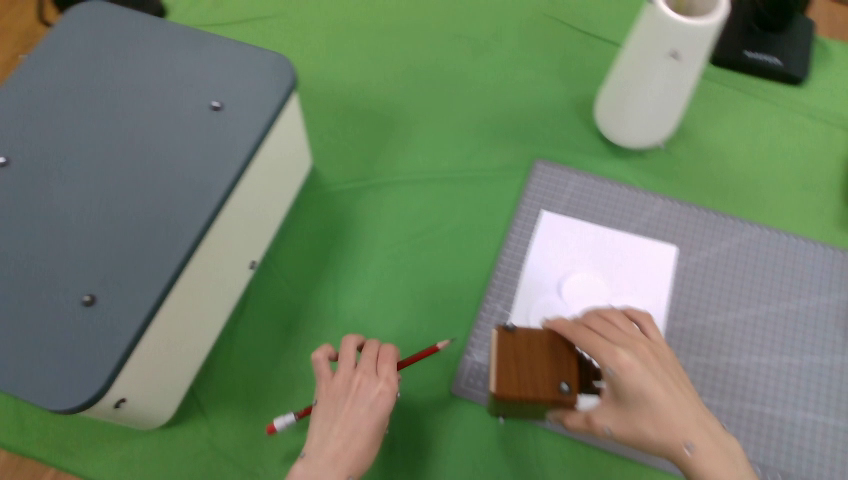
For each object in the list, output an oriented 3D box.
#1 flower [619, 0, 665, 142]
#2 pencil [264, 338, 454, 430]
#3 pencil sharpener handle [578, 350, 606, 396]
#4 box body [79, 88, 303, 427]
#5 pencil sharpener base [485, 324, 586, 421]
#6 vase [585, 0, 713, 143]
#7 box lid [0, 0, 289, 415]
[{"bbox_3d":[0.236,-0.243,0.589,0.044,0.365,0.038,11,47,10],"label":"flower"},{"bbox_3d":[-0.059,0.133,0.567,0.194,0.012,0.012,-24,66,-4],"label":"pencil"},{"bbox_3d":[0.145,0.118,0.516,0.030,0.068,0.035,4,60,5],"label":"pencil sharpener handle"},{"bbox_3d":[-0.306,-0.025,0.602,0.253,0.161,0.362,18,66,9],"label":"box body"},{"bbox_3d":[0.095,0.119,0.531,0.076,0.108,0.061,4,66,5],"label":"pencil sharpener base"},{"bbox_3d":[0.239,-0.194,0.658,0.098,0.201,0.097,-1,63,1],"label":"vase"},{"bbox_3d":[-0.306,-0.059,0.535,0.263,0.015,0.369,18,66,8],"label":"box lid"}]
